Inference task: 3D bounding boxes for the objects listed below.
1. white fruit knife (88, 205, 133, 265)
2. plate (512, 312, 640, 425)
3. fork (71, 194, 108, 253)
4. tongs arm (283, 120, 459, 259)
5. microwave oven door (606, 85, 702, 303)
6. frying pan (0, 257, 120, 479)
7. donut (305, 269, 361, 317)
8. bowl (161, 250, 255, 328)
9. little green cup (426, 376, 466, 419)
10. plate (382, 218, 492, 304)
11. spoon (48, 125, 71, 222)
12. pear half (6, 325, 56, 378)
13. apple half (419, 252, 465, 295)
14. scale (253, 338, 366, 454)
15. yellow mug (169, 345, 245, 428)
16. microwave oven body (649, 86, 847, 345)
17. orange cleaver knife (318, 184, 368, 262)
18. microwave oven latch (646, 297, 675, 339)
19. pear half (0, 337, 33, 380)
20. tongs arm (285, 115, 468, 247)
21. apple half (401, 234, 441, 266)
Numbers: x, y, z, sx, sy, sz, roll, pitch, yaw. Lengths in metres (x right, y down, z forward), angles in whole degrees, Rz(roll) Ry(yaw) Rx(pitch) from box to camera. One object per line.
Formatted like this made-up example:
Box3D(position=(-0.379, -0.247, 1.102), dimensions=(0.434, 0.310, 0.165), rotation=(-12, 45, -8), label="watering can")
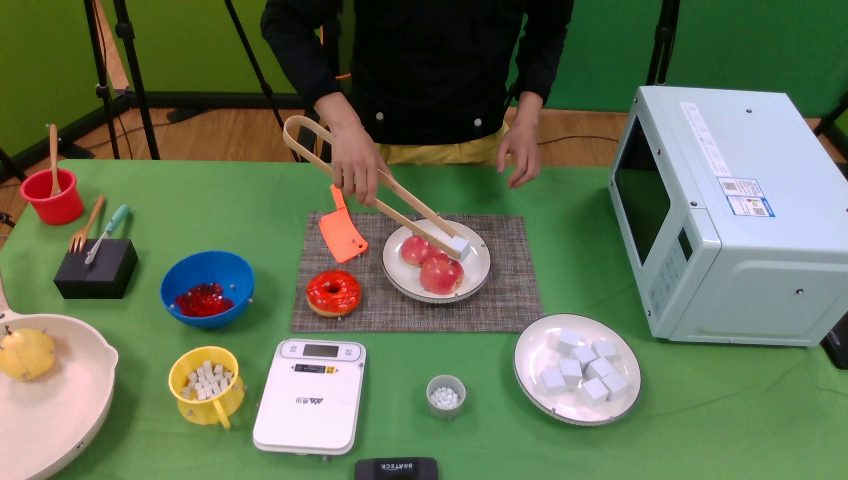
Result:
Box3D(position=(-0.584, -0.013, 1.129), dimensions=(0.016, 0.027, 0.206), rotation=(-1, 32, -5), label="white fruit knife")
Box3D(position=(0.246, 0.213, 0.999), dimensions=(0.208, 0.039, 0.206), rotation=(2, 46, -2), label="plate")
Box3D(position=(-0.634, -0.036, 1.158), dimensions=(0.028, 0.019, 0.206), rotation=(-8, 32, -8), label="fork")
Box3D(position=(-0.098, -0.085, 1.069), dimensions=(0.387, 0.028, 0.028), rotation=(36, 64, 0), label="tongs arm")
Box3D(position=(0.422, -0.094, 1.140), dimensions=(0.039, 0.245, 0.353), rotation=(2, 46, -1), label="microwave oven door")
Box3D(position=(-0.647, 0.164, 0.936), dimensions=(0.307, 0.103, 0.485), rotation=(-19, 58, -22), label="frying pan")
Box3D(position=(-0.160, 0.094, 1.075), dimensions=(0.099, 0.048, 0.098), rotation=(4, 46, -4), label="donut")
Box3D(position=(-0.362, 0.098, 1.039), dimensions=(0.151, 0.077, 0.150), rotation=(2, 45, -2), label="bowl")
Box3D(position=(0.033, 0.248, 0.950), dimensions=(0.061, 0.039, 0.061), rotation=(2, 46, -2), label="little green cup")
Box3D(position=(0.023, 0.042, 1.143), dimensions=(0.209, 0.038, 0.208), rotation=(2, 46, -2), label="plate")
Box3D(position=(-0.718, -0.131, 1.188), dimensions=(0.041, 0.021, 0.193), rotation=(-3, 90, -6), label="spoon")
Box3D(position=(-0.608, 0.158, 0.935), dimensions=(0.076, 0.110, 0.056), rotation=(31, 51, 20), label="pear half")
Box3D(position=(0.035, 0.056, 1.109), dimensions=(0.074, 0.053, 0.081), rotation=(38, 55, 25), label="apple half")
Box3D(position=(-0.175, 0.236, 0.951), dimensions=(0.149, 0.032, 0.199), rotation=(4, 45, -1), label="scale")
Box3D(position=(-0.322, 0.230, 0.922), dimensions=(0.100, 0.064, 0.130), rotation=(-24, 53, -25), label="yellow mug")
Box3D(position=(0.567, -0.053, 1.118), dimensions=(0.326, 0.261, 0.439), rotation=(2, 45, -1), label="microwave oven body")
Box3D(position=(-0.173, -0.037, 1.219), dimensions=(0.077, 0.012, 0.210), rotation=(-16, 50, -12), label="orange cleaver knife")
Box3D(position=(0.412, 0.134, 1.061), dimensions=(0.030, 0.029, 0.078), rotation=(4, 45, 1), label="microwave oven latch")
Box3D(position=(-0.631, 0.184, 0.921), dimensions=(0.070, 0.088, 0.031), rotation=(29, 49, 19), label="pear half")
Box3D(position=(-0.086, -0.101, 1.081), dimensions=(0.384, 0.026, 0.050), rotation=(40, 60, 3), label="tongs arm")
Box3D(position=(-0.005, 0.014, 1.159), dimensions=(0.081, 0.033, 0.081), rotation=(5, 43, -5), label="apple half")
